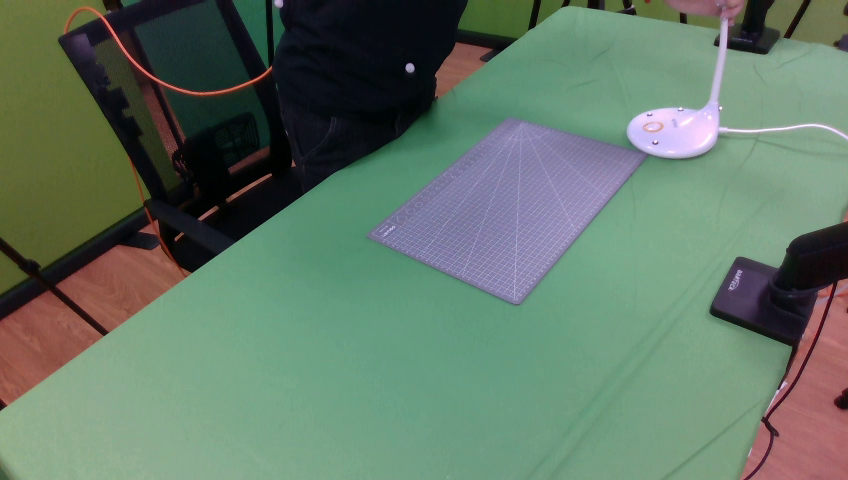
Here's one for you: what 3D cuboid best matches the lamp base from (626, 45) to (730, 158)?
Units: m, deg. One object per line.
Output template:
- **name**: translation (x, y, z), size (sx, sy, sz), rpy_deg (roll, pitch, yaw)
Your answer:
- **lamp base**: translation (0.468, -0.262, 1.086), size (0.179, 0.181, 0.159), rpy_deg (-4, 41, 0)
